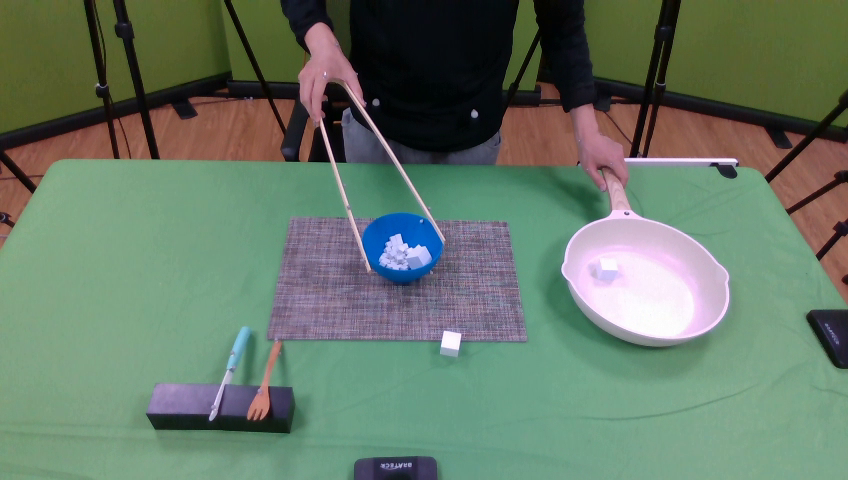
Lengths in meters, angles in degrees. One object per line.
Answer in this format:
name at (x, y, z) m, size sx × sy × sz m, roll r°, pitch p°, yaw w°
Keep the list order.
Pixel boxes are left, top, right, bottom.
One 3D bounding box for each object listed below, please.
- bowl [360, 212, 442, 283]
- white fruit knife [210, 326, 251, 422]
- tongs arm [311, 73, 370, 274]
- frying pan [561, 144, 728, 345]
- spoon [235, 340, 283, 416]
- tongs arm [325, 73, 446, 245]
bowl at (-0.044, 0.026, 1.125) m, size 0.151 × 0.077 × 0.150 m, roll 2°, pitch 46°, yaw -2°
white fruit knife at (-0.300, 0.201, 0.941) m, size 0.016 × 0.027 × 0.206 m, roll -2°, pitch 32°, yaw 1°
tongs arm at (-0.136, -0.123, 1.046) m, size 0.051 × 0.026 × 0.383 m, roll -19°, pitch 71°, yaw -8°
frying pan at (0.397, -0.008, 1.179) m, size 0.307 × 0.103 × 0.485 m, roll 2°, pitch 55°, yaw -4°
spoon at (-0.245, 0.207, 0.932) m, size 0.042 × 0.022 × 0.193 m, roll 29°, pitch 24°, yaw -8°
tongs arm at (-0.068, -0.149, 1.059) m, size 0.028 × 0.028 × 0.386 m, roll -31°, pitch 74°, yaw -8°
